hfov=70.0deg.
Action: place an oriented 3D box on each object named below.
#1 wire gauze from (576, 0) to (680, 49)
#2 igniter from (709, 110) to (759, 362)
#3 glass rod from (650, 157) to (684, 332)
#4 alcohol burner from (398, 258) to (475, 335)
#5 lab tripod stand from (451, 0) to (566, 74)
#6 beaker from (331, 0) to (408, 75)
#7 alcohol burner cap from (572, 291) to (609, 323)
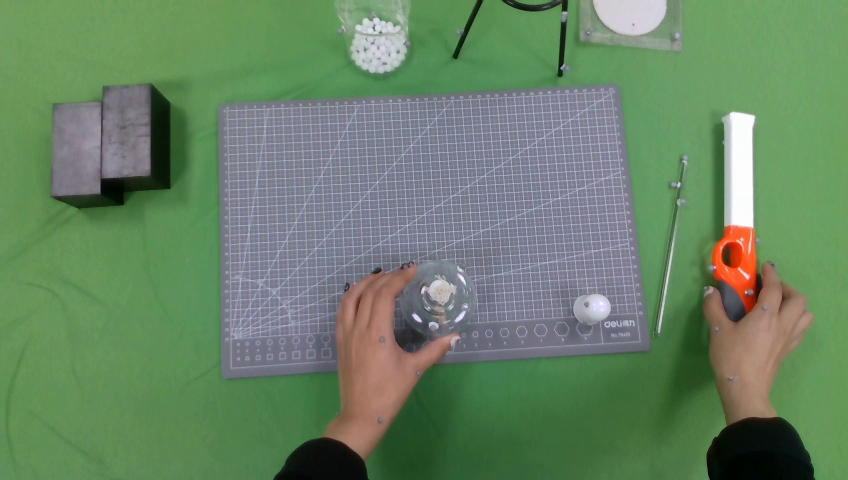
[{"bbox_3d":[0.236,-0.284,0.707,0.125,0.011,0.121,3,80,1],"label":"wire gauze"},{"bbox_3d":[0.336,-0.007,0.656,0.057,0.025,0.275,7,81,-10],"label":"igniter"},{"bbox_3d":[0.266,0.003,0.663,0.008,0.008,0.199,13,81,1],"label":"glass rod"},{"bbox_3d":[0.013,0.053,0.592,0.078,0.119,0.077,0,78,-1],"label":"alcohol burner"},{"bbox_3d":[0.099,-0.251,0.635,0.148,0.132,0.148,0,79,0],"label":"lab tripod stand"},{"bbox_3d":[-0.052,-0.226,0.645,0.084,0.100,0.074,42,83,5],"label":"beaker"},{"bbox_3d":[0.175,0.069,0.630,0.034,0.048,0.033,0,79,0],"label":"alcohol burner cap"}]
